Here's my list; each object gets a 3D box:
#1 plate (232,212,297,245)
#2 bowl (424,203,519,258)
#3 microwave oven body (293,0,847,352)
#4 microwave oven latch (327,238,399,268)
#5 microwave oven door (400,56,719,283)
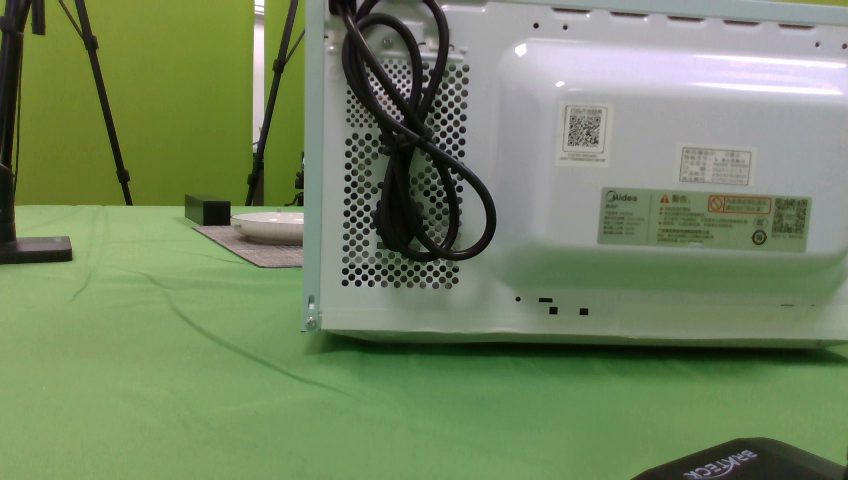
[{"bbox_3d":[-0.214,-0.019,1.018,0.208,0.039,0.207,3,7,0],"label":"plate"},{"bbox_3d":[0.073,-0.015,0.962,0.151,0.077,0.151,3,8,0],"label":"bowl"},{"bbox_3d":[0.122,-0.055,0.550,0.442,0.260,0.325,3,7,-5],"label":"microwave oven body"},{"bbox_3d":[-0.069,0.015,0.694,0.079,0.029,0.030,3,7,-3],"label":"microwave oven latch"},{"bbox_3d":[0.155,-0.077,0.698,0.356,0.243,0.039,2,8,-5],"label":"microwave oven door"}]
